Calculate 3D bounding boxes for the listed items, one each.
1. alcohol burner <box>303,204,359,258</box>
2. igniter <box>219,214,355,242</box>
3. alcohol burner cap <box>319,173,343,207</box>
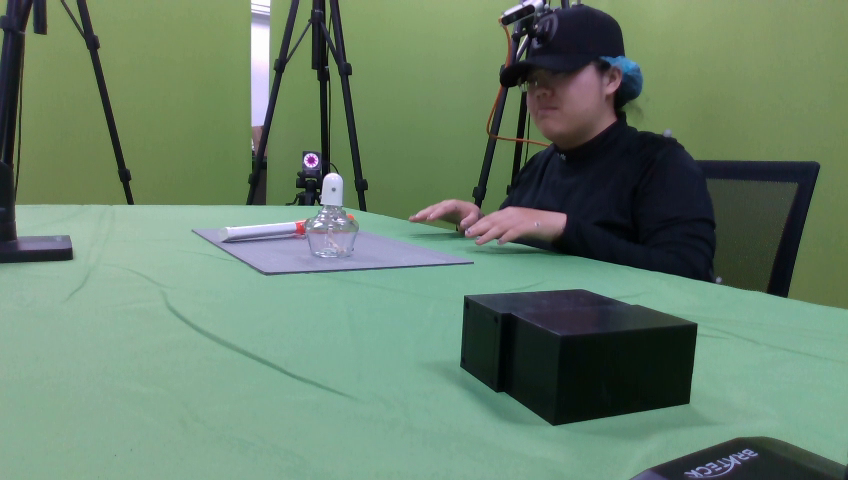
[{"bbox_3d":[-0.130,-0.035,0.850,0.078,0.119,0.078,2,5,0],"label":"alcohol burner"},{"bbox_3d":[-0.220,-0.021,1.033,0.057,0.025,0.278,-20,-7,39],"label":"igniter"},{"bbox_3d":[-0.129,-0.070,0.845,0.034,0.048,0.034,4,4,0],"label":"alcohol burner cap"}]
